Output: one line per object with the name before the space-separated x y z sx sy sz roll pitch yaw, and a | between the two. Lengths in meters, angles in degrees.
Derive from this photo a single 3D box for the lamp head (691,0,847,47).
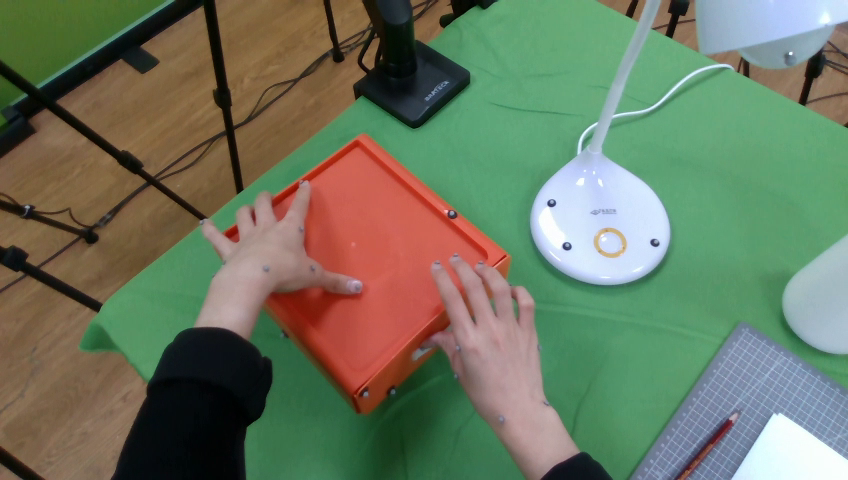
lamp head | 0.217 -0.194 0.380 0.112 0.112 0.123 -20 99 -9

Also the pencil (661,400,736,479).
pencil | 0.240 0.216 0.574 0.194 0.012 0.012 -37 65 -20

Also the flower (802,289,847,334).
flower | 0.434 -0.026 0.505 0.038 0.364 0.044 25 46 8

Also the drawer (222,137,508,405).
drawer | -0.057 0.021 0.606 0.194 0.074 0.210 -41 67 -19

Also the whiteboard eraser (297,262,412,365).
whiteboard eraser | -0.069 0.072 0.597 0.112 0.042 0.055 33 60 27

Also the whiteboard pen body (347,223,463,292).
whiteboard pen body | -0.020 0.019 0.630 0.140 0.017 0.017 29 65 15

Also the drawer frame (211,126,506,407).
drawer frame | -0.063 0.019 0.610 0.201 0.083 0.212 -41 69 -19

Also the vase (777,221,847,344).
vase | 0.420 0.023 0.572 0.098 0.202 0.097 -1 59 3

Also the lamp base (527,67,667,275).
lamp base | 0.195 -0.079 0.649 0.161 0.182 0.177 -13 58 -6

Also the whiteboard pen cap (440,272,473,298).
whiteboard pen cap | 0.032 0.046 0.613 0.033 0.018 0.018 24 63 25
